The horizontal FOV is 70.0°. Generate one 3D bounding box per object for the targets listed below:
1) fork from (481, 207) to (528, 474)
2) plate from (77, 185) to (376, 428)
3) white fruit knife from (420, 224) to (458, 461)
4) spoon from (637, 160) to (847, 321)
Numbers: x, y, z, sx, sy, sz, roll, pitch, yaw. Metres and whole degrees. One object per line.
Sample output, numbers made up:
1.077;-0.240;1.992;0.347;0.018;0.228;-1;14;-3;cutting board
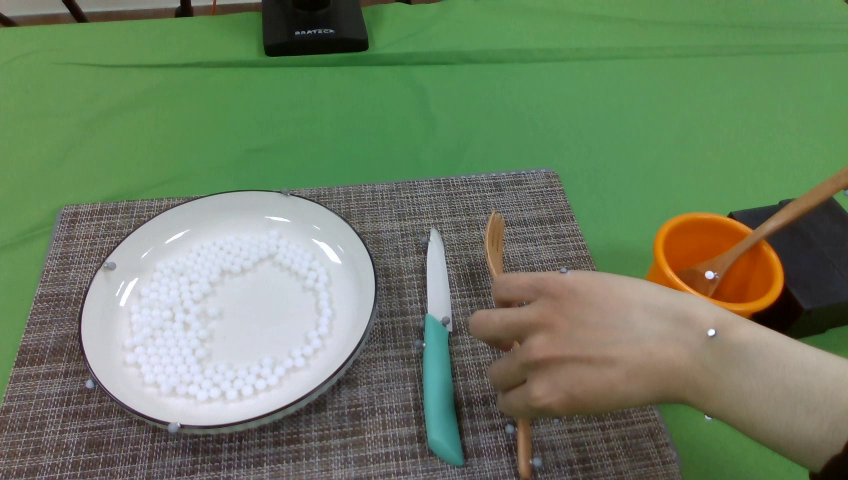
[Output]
0.060;0.064;0.447;0.018;0.028;0.205;-20;55;22;fork
-0.139;0.044;0.452;0.209;0.038;0.207;2;50;-2;plate
0.008;0.064;0.462;0.027;0.016;0.205;22;43;-25;white fruit knife
0.244;-0.002;0.450;0.022;0.194;0.041;25;31;-43;spoon
